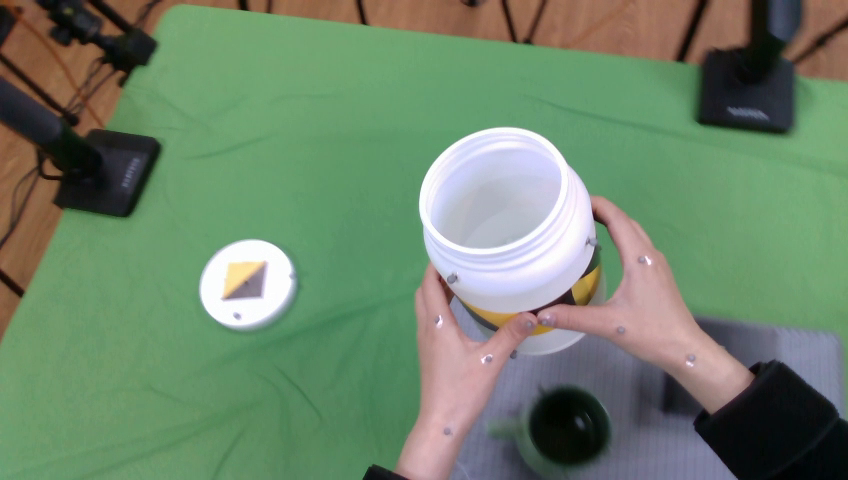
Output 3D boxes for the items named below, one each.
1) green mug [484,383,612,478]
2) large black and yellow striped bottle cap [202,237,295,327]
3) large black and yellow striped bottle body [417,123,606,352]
[{"bbox_3d":[0.124,0.192,0.618,0.125,0.106,0.092,0,68,6],"label":"green mug"},{"bbox_3d":[-0.219,0.050,0.755,0.115,0.019,0.114,-2,67,4],"label":"large black and yellow striped bottle cap"},{"bbox_3d":[0.075,0.003,0.499,0.130,0.186,0.129,-10,58,16],"label":"large black and yellow striped bottle body"}]
